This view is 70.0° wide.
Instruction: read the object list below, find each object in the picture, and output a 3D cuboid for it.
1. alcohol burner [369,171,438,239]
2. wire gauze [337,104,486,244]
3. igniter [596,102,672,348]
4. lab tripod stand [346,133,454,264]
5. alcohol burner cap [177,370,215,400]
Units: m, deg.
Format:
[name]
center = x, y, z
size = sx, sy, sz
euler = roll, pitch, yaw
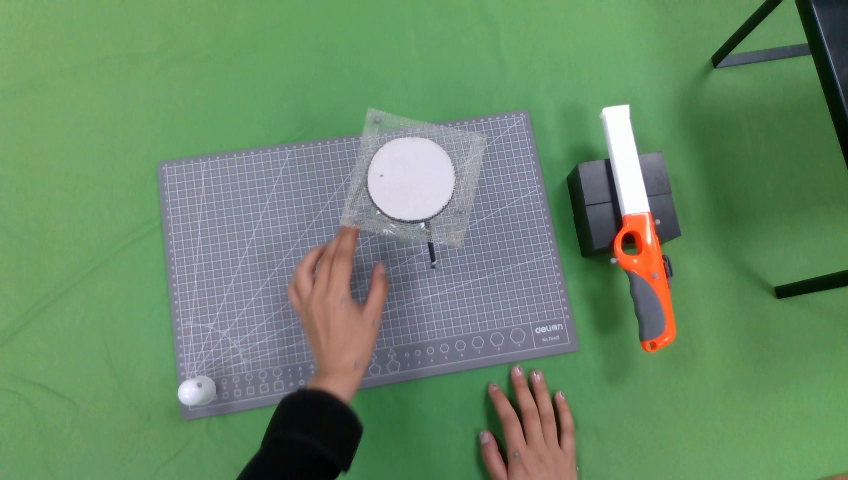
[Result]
[alcohol burner]
center = -0.022, -0.041, 0.662
size = 0.078, 0.119, 0.077
euler = 0, 82, -2
[wire gauze]
center = -0.011, -0.065, 0.588
size = 0.121, 0.011, 0.124
euler = 13, 78, 0
[igniter]
center = 0.231, -0.020, 0.669
size = 0.057, 0.025, 0.275
euler = -7, 79, -1
[lab tripod stand]
center = -0.016, -0.054, 0.654
size = 0.148, 0.132, 0.147
euler = 0, 77, -2
[alcohol burner cap]
center = -0.248, 0.157, 0.651
size = 0.034, 0.048, 0.033
euler = 1, 79, -3
